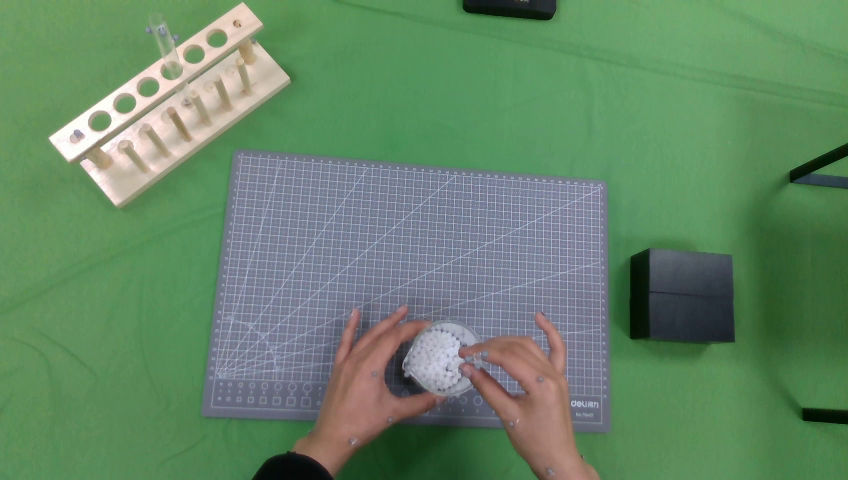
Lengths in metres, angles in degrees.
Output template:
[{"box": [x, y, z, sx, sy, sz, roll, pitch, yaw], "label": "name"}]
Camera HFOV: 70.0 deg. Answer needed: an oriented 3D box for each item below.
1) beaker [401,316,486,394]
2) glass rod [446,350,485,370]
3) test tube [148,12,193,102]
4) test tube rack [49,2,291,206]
[{"box": [0.014, 0.124, 0.634, 0.084, 0.100, 0.073, -10, 79, -10], "label": "beaker"}, {"box": [0.037, 0.117, 0.583, 0.008, 0.200, 0.008, 1, 75, -5], "label": "glass rod"}, {"box": [-0.257, -0.183, 0.622, 0.017, 0.150, 0.017, 3, 74, -10], "label": "test tube"}, {"box": [-0.267, -0.147, 0.664, 0.242, 0.085, 0.066, -41, 85, -13], "label": "test tube rack"}]
